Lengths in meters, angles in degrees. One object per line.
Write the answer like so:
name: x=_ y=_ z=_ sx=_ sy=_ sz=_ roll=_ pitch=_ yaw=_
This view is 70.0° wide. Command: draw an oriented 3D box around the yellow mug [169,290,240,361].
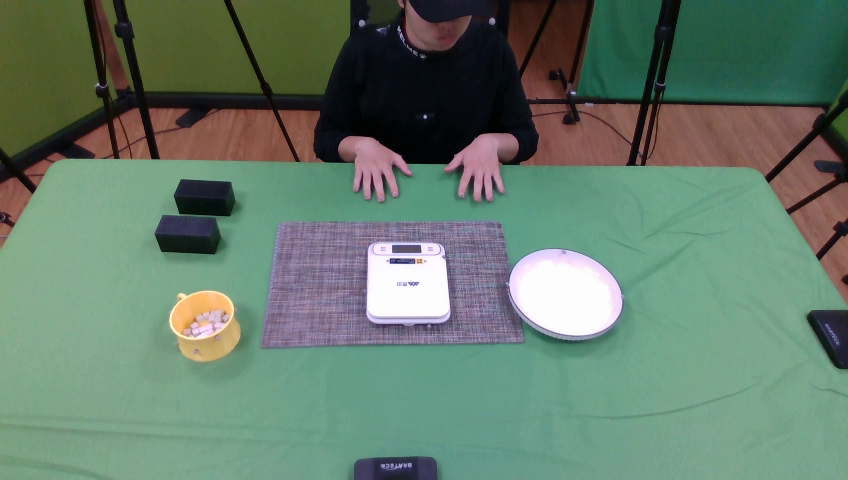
yellow mug: x=-0.373 y=0.132 z=1.009 sx=0.130 sy=0.064 sz=0.100 roll=35 pitch=53 yaw=27

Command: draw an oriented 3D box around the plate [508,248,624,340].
plate: x=0.256 y=0.101 z=1.106 sx=0.209 sy=0.038 sz=0.208 roll=2 pitch=45 yaw=-2

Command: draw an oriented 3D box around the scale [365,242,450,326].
scale: x=-0.032 y=0.071 z=1.113 sx=0.149 sy=0.032 sz=0.199 roll=0 pitch=46 yaw=-4
